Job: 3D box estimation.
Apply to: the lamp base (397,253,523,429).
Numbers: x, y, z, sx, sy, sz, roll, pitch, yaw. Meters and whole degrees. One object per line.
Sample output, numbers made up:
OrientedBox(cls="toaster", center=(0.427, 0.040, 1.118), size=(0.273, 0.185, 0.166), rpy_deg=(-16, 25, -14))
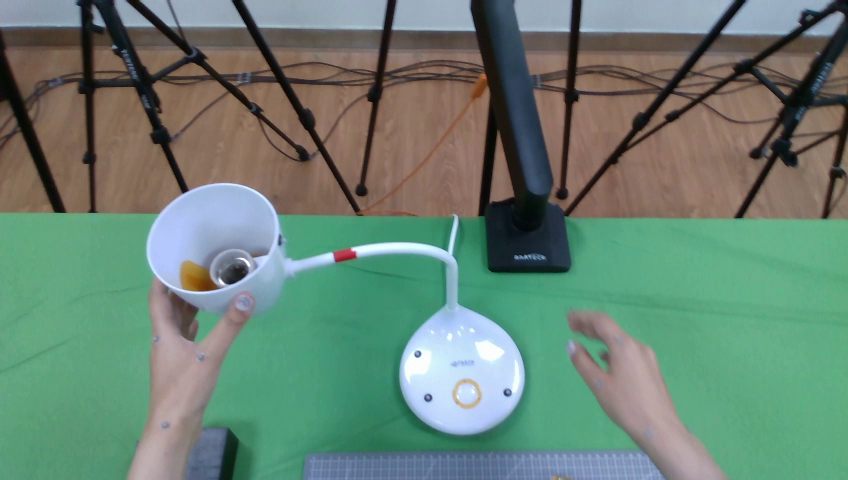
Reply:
OrientedBox(cls="lamp base", center=(0.039, 0.110, 0.719), size=(0.161, 0.182, 0.177), rpy_deg=(-14, 54, -7))

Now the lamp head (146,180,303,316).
OrientedBox(cls="lamp head", center=(-0.177, 0.019, 0.570), size=(0.112, 0.124, 0.111), rpy_deg=(-3, 62, 6))

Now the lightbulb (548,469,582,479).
OrientedBox(cls="lightbulb", center=(0.186, 0.295, 0.679), size=(0.106, 0.060, 0.059), rpy_deg=(30, 60, 35))
